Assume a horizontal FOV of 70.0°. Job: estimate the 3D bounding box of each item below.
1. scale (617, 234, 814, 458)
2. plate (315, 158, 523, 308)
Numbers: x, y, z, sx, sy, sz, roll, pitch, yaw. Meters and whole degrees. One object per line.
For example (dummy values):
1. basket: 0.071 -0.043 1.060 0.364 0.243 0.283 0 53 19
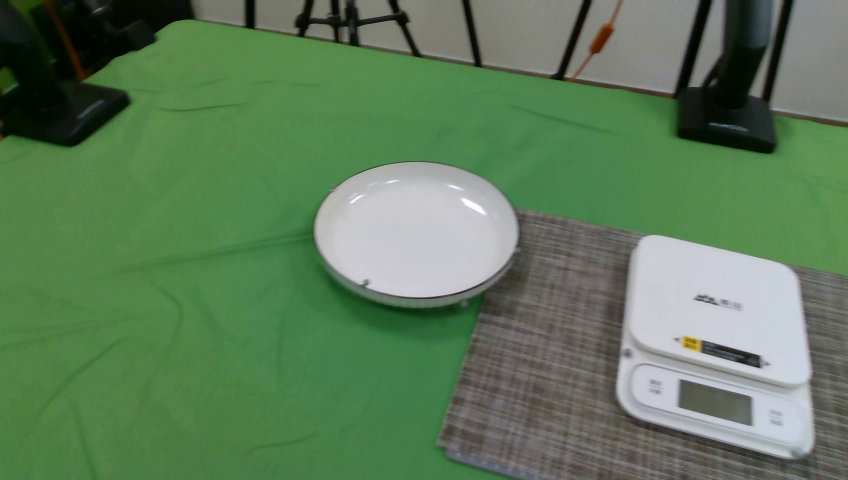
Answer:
1. scale: 0.254 0.081 0.530 0.148 0.032 0.199 13 46 13
2. plate: -0.005 -0.008 0.620 0.209 0.038 0.207 0 44 0
